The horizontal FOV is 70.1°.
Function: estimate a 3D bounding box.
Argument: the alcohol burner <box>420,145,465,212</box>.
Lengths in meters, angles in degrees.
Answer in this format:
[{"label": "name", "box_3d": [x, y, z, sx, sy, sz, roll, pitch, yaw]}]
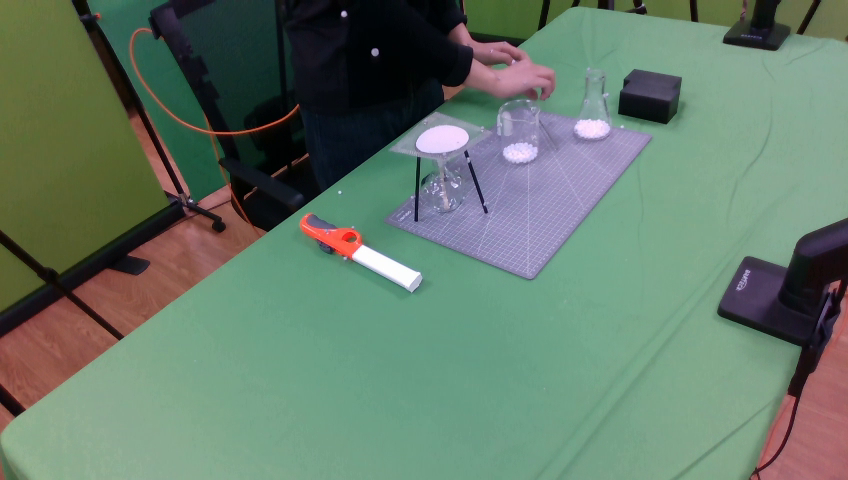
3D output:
[{"label": "alcohol burner", "box_3d": [0.031, -0.108, 1.030, 0.078, 0.119, 0.077, -5, 38, 4]}]

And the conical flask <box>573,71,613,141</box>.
[{"label": "conical flask", "box_3d": [0.321, -0.256, 1.142, 0.075, 0.122, 0.075, -5, 40, 5]}]

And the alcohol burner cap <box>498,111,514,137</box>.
[{"label": "alcohol burner cap", "box_3d": [0.163, -0.234, 1.212, 0.034, 0.048, 0.033, -6, 39, 5]}]

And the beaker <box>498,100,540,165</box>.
[{"label": "beaker", "box_3d": [0.180, -0.196, 1.117, 0.074, 0.101, 0.083, -25, 43, -17]}]

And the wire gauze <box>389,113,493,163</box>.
[{"label": "wire gauze", "box_3d": [0.026, -0.164, 0.977, 0.120, 0.011, 0.125, 24, 49, 35]}]

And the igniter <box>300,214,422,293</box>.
[{"label": "igniter", "box_3d": [-0.113, 0.016, 0.983, 0.274, 0.025, 0.057, 26, 62, 35]}]

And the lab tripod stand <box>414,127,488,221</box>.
[{"label": "lab tripod stand", "box_3d": [0.035, -0.114, 1.021, 0.148, 0.132, 0.147, -7, 39, 6]}]

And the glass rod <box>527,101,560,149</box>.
[{"label": "glass rod", "box_3d": [0.240, -0.236, 1.223, 0.008, 0.008, 0.198, -12, 40, -2]}]
